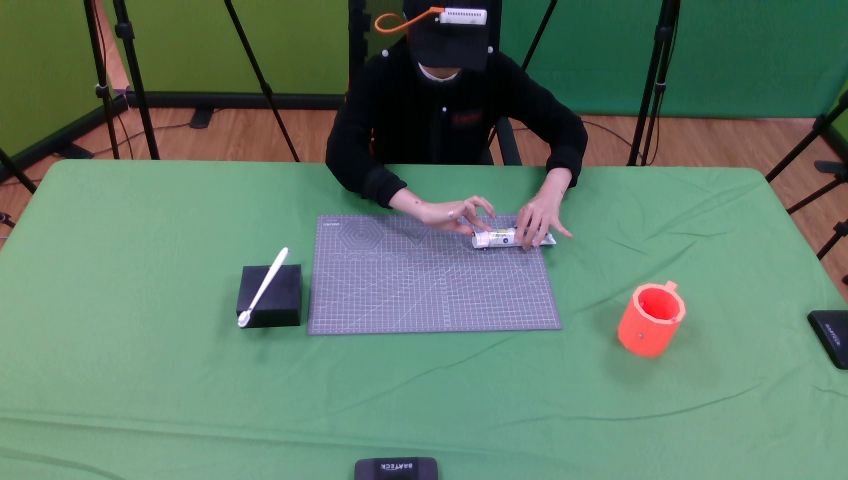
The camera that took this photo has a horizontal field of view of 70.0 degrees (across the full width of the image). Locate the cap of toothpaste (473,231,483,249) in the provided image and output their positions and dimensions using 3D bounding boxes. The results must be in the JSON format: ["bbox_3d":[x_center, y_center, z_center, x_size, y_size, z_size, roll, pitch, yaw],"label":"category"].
[{"bbox_3d":[0.105,-0.001,1.187,0.011,0.037,0.037,-8,47,-15],"label":"cap of toothpaste"}]

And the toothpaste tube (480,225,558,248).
[{"bbox_3d":[0.183,-0.006,1.205,0.165,0.035,0.054,-5,50,-14],"label":"toothpaste tube"}]

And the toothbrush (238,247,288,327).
[{"bbox_3d":[-0.274,0.075,1.040,0.014,0.017,0.181,11,46,10],"label":"toothbrush"}]

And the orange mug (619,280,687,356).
[{"bbox_3d":[0.401,0.125,1.045,0.083,0.101,0.126,30,56,24],"label":"orange mug"}]
